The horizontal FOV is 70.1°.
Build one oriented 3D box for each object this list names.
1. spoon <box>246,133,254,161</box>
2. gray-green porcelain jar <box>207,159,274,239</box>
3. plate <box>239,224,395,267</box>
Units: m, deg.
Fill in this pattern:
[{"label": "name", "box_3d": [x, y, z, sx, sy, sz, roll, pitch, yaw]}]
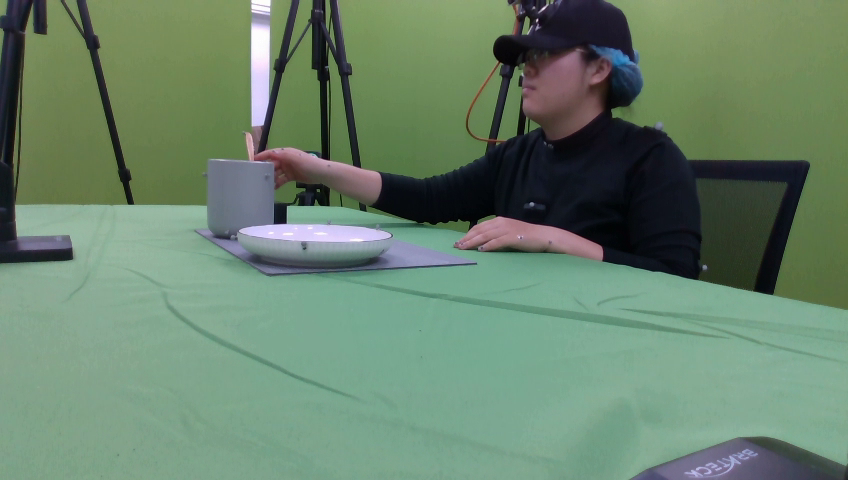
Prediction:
[{"label": "spoon", "box_3d": [-0.344, -0.153, 1.209, 0.042, 0.021, 0.193, 3, 50, -23]}, {"label": "gray-green porcelain jar", "box_3d": [-0.304, -0.068, 1.004, 0.106, 0.126, 0.106, 3, 7, 0]}, {"label": "plate", "box_3d": [-0.144, 0.007, 0.823, 0.208, 0.039, 0.207, 3, 7, 0]}]
